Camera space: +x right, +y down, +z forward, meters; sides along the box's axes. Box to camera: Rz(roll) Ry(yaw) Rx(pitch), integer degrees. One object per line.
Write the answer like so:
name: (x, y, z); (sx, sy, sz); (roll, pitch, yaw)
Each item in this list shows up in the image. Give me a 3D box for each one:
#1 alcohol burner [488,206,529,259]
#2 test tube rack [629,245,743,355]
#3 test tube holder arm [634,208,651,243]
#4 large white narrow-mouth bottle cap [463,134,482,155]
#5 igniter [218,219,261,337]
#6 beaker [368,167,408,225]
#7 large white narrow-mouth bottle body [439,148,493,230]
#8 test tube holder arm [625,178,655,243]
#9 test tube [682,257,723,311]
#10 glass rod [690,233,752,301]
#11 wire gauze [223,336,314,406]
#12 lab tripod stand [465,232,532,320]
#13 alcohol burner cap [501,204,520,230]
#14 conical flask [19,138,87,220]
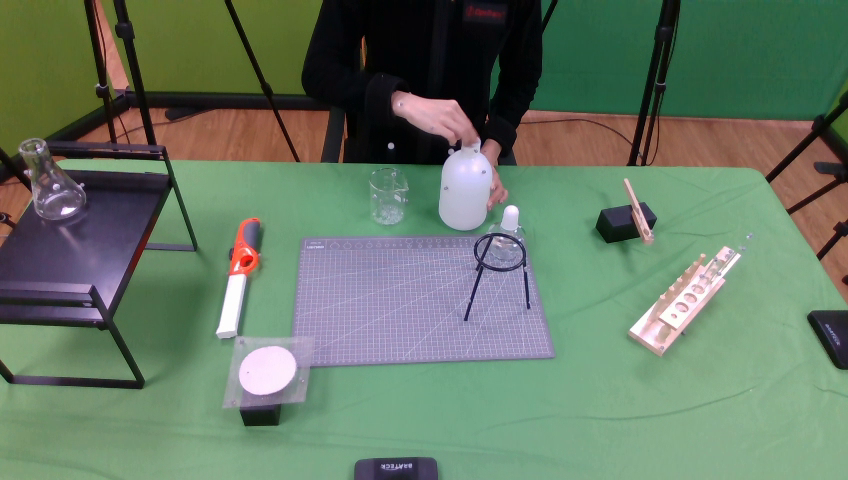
alcohol burner: (0.163, -0.020, 1.158); (0.078, 0.120, 0.077); (0, 47, 0)
test tube rack: (0.474, 0.095, 1.091); (0.242, 0.085, 0.066); (-34, 56, -31)
test tube holder arm: (0.428, -0.030, 1.189); (0.010, 0.015, 0.087); (1, 47, -2)
large white narrow-mouth bottle cap: (0.090, -0.179, 1.131); (0.038, 0.024, 0.037); (2, 46, -2)
igniter: (-0.336, 0.060, 1.111); (0.057, 0.025, 0.274); (-8, 46, 4)
beaker: (-0.070, -0.085, 1.220); (0.084, 0.101, 0.074); (21, 49, 15)
large white narrow-mouth bottle body: (0.085, -0.118, 1.196); (0.102, 0.195, 0.101); (2, 46, -2)
test tube holder arm: (0.433, -0.062, 1.220); (0.013, 0.015, 0.177); (1, 47, -3)
test tube: (0.474, 0.080, 1.037); (0.017, 0.151, 0.017); (1, 50, -1)
glass rod: (0.507, 0.053, 1.041); (0.008, 0.200, 0.008); (5, 51, -6)
wire gauze: (-0.237, 0.197, 0.931); (0.121, 0.011, 0.124); (1, 45, -4)
lab tripod stand: (0.125, 0.059, 1.065); (0.148, 0.132, 0.147); (1, 45, 0)
alcohol burner cap: (0.164, -0.046, 1.133); (0.034, 0.048, 0.033); (2, 40, -2)
conical flask: (-0.576, -0.097, 0.930); (0.075, 0.122, 0.075); (2, 46, -2)
